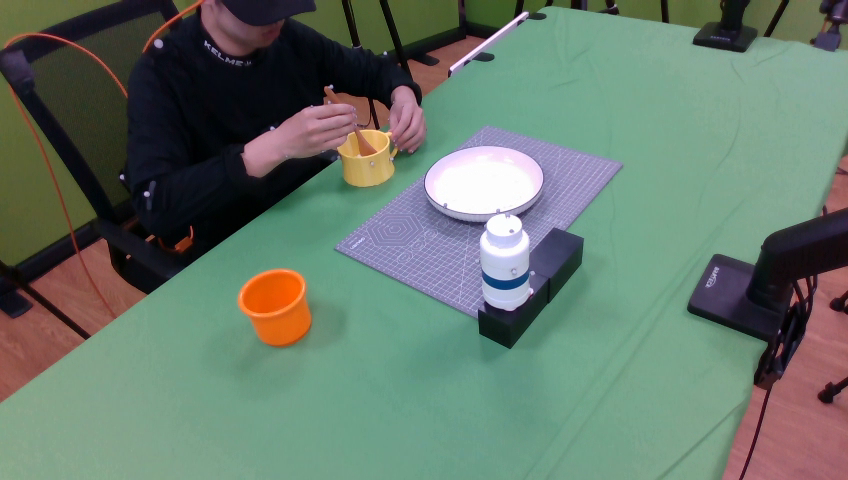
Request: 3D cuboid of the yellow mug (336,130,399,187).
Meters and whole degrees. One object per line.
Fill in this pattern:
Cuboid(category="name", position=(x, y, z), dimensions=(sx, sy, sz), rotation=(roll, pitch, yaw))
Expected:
Cuboid(category="yellow mug", position=(-0.098, -0.161, 1.138), dimensions=(0.131, 0.064, 0.099), rotation=(-33, 47, -28))

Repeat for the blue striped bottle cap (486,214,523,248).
Cuboid(category="blue striped bottle cap", position=(0.098, -0.011, 0.735), dimensions=(0.044, 0.021, 0.044), rotation=(-3, 38, 3))

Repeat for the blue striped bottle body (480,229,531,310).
Cuboid(category="blue striped bottle body", position=(0.104, 0.027, 0.769), dimensions=(0.063, 0.121, 0.063), rotation=(-4, 40, 4))

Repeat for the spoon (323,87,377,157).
Cuboid(category="spoon", position=(-0.128, -0.200, 1.076), dimensions=(0.041, 0.195, 0.021), rotation=(0, 53, 30))

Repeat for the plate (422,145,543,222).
Cuboid(category="plate", position=(0.101, -0.094, 1.048), dimensions=(0.207, 0.039, 0.206), rotation=(-4, 41, 4))
